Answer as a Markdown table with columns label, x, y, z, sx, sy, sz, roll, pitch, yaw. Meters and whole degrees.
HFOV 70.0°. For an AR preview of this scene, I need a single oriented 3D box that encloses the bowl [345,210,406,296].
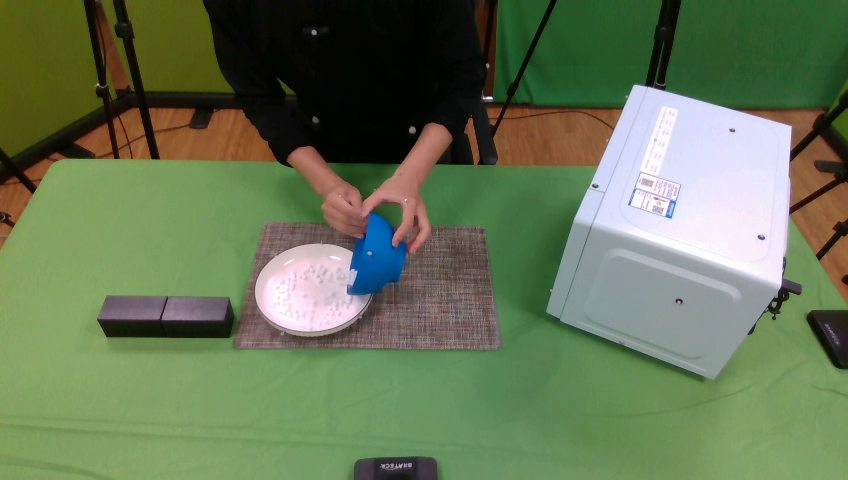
| label | x | y | z | sx | sy | sz | roll | pitch | yaw |
| --- | --- | --- | --- | --- | --- | --- | --- | --- | --- |
| bowl | -0.079 | 0.030 | 1.038 | 0.077 | 0.152 | 0.150 | 14 | 45 | -12 |

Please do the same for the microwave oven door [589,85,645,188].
| label | x | y | z | sx | sy | sz | roll | pitch | yaw |
| --- | --- | --- | --- | --- | --- | --- | --- | --- | --- |
| microwave oven door | 0.342 | -0.107 | 1.148 | 0.039 | 0.245 | 0.354 | 20 | 48 | 15 |

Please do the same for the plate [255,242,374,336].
| label | x | y | z | sx | sy | sz | roll | pitch | yaw |
| --- | --- | --- | --- | --- | --- | --- | --- | --- | --- |
| plate | -0.192 | 0.090 | 1.080 | 0.208 | 0.039 | 0.206 | 2 | 46 | -2 |

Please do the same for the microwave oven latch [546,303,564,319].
| label | x | y | z | sx | sy | sz | roll | pitch | yaw |
| --- | --- | --- | --- | --- | --- | --- | --- | --- | --- |
| microwave oven latch | 0.242 | 0.102 | 1.081 | 0.030 | 0.029 | 0.079 | 21 | 48 | 17 |

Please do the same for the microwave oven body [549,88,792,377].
| label | x | y | z | sx | sy | sz | roll | pitch | yaw |
| --- | --- | --- | --- | --- | --- | --- | --- | --- | --- |
| microwave oven body | 0.456 | -0.028 | 1.088 | 0.325 | 0.261 | 0.440 | 20 | 47 | 16 |
